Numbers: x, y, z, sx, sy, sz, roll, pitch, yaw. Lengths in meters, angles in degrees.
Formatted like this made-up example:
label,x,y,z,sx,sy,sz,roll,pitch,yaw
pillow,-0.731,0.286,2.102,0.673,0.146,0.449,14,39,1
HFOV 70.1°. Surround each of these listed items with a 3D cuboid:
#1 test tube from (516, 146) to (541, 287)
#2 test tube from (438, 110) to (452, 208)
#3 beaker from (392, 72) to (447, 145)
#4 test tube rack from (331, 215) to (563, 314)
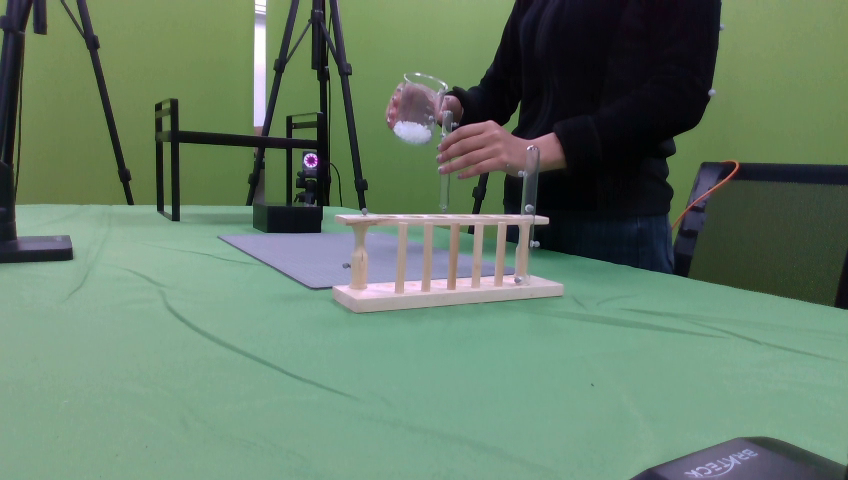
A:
label,x,y,z,sx,sy,sz,roll,pitch,yaw
test tube,0.110,-0.024,0.638,0.017,0.150,0.017,3,6,0
test tube,0.033,-0.124,0.926,0.017,0.150,0.017,3,3,0
beaker,-0.009,-0.213,0.992,0.074,0.100,0.083,-1,37,-27
test tube rack,0.031,0.019,0.625,0.243,0.085,0.066,-1,8,-28
